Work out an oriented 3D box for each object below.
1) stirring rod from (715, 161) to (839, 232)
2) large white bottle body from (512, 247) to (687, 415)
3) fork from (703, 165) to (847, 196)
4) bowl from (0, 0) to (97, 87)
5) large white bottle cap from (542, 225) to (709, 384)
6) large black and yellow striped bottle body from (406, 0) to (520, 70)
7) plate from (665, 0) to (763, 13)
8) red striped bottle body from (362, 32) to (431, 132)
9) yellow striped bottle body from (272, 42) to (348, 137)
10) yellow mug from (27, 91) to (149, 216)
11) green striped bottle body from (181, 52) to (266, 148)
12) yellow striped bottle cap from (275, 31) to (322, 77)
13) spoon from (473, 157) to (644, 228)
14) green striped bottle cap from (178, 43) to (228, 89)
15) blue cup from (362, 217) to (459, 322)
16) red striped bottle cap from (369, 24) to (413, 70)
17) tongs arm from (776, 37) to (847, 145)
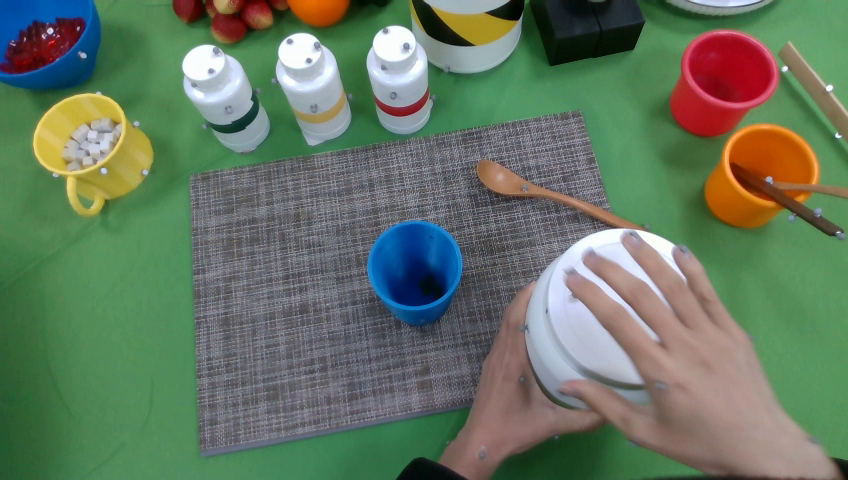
[{"bbox_3d":[0.331,-0.046,0.580,0.014,0.006,0.174,-8,27,-3],"label":"stirring rod"},{"bbox_3d":[0.147,0.075,0.513,0.130,0.186,0.129,-1,69,3],"label":"large white bottle body"},{"bbox_3d":[0.361,-0.050,0.573,0.028,0.019,0.205,-48,31,-13],"label":"fork"},{"bbox_3d":[-0.448,-0.234,0.710,0.151,0.077,0.150,0,70,1],"label":"bowl"},{"bbox_3d":[0.143,0.044,0.432,0.115,0.018,0.114,-1,69,2],"label":"large white bottle cap"},{"bbox_3d":[0.042,-0.289,0.655,0.131,0.185,0.130,-1,70,2],"label":"large black and yellow striped bottle body"},{"bbox_3d":[0.347,-0.361,0.746,0.209,0.038,0.207,-1,70,2],"label":"plate"},{"bbox_3d":[-0.029,-0.173,0.649,0.063,0.120,0.062,-2,68,6],"label":"red striped bottle body"},{"bbox_3d":[-0.123,-0.167,0.651,0.063,0.121,0.062,-1,69,3],"label":"yellow striped bottle body"},{"bbox_3d":[-0.366,-0.089,0.661,0.100,0.064,0.130,0,70,1],"label":"yellow mug"},{"bbox_3d":[-0.216,-0.154,0.650,0.063,0.120,0.063,-1,69,2],"label":"green striped bottle body"},{"bbox_3d":[-0.125,-0.185,0.602,0.044,0.019,0.044,0,71,1],"label":"yellow striped bottle cap"},{"bbox_3d":[0.142,-0.045,0.644,0.193,0.022,0.041,20,47,9],"label":"spoon"},{"bbox_3d":[-0.219,-0.172,0.601,0.044,0.020,0.044,0,69,2],"label":"green striped bottle cap"},{"bbox_3d":[-0.011,0.037,0.578,0.092,0.101,0.092,0,69,1],"label":"blue cup"},{"bbox_3d":[-0.033,-0.192,0.600,0.044,0.018,0.044,1,68,-1],"label":"red striped bottle cap"},{"bbox_3d":[0.502,-0.069,0.634,0.051,0.027,0.382,-22,71,-8],"label":"tongs arm"}]
